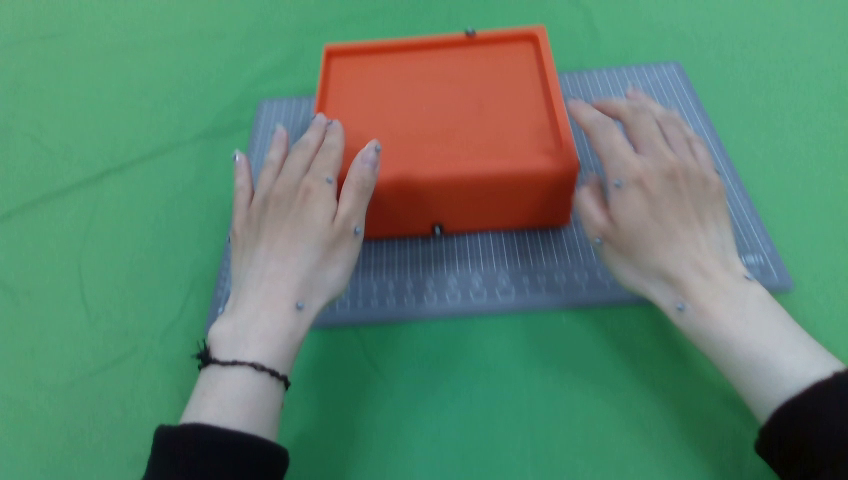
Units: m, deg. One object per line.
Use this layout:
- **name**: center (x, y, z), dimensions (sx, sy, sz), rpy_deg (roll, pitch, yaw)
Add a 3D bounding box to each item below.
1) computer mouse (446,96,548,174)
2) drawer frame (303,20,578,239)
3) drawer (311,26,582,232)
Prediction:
- **computer mouse**: center (0.066, -0.100, 0.538), dimensions (0.062, 0.041, 0.117), rpy_deg (6, 36, 28)
- **drawer frame**: center (0.015, -0.101, 0.540), dimensions (0.213, 0.083, 0.199), rpy_deg (-5, 51, 3)
- **drawer**: center (0.017, -0.103, 0.540), dimensions (0.212, 0.074, 0.192), rpy_deg (-4, 51, 2)
